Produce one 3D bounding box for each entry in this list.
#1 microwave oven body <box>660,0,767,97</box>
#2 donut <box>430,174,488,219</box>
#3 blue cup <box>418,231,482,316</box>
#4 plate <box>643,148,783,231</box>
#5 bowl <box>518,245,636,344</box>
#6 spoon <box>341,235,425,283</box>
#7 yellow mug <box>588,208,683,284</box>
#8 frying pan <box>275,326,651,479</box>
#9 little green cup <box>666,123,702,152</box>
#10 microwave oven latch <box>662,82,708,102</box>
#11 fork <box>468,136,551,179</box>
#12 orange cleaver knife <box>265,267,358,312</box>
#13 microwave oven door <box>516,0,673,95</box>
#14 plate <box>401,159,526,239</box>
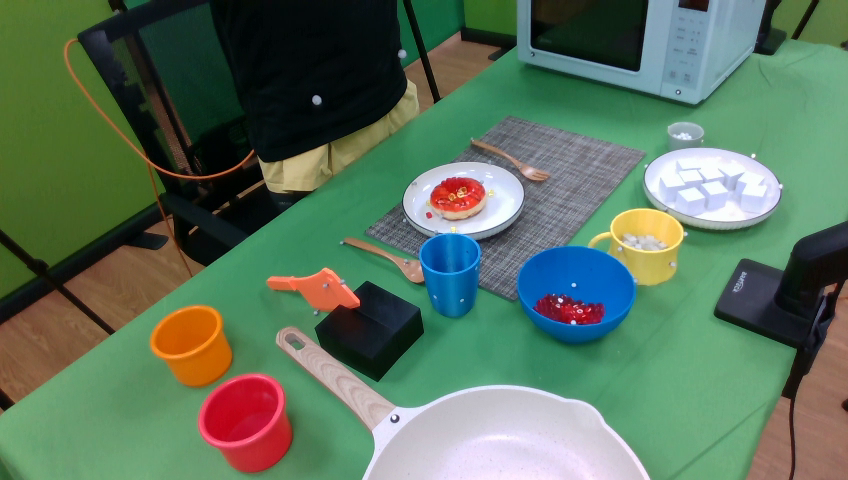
[{"bbox_3d":[0.474,-0.516,1.314,0.438,0.261,0.327,26,51,34],"label":"microwave oven body"},{"bbox_3d":[0.058,-0.075,1.015,0.099,0.048,0.098,-6,38,5],"label":"donut"},{"bbox_3d":[0.040,0.052,0.843,0.092,0.100,0.092,-4,43,4],"label":"blue cup"},{"bbox_3d":[0.465,-0.080,0.985,0.207,0.039,0.206,-4,41,4],"label":"plate"},{"bbox_3d":[0.200,0.084,0.803,0.151,0.077,0.150,-4,40,4],"label":"bowl"},{"bbox_3d":[-0.061,0.023,0.953,0.192,0.022,0.041,24,70,30],"label":"spoon"},{"bbox_3d":[0.305,0.009,0.884,0.131,0.064,0.099,-4,41,5],"label":"yellow mug"},{"bbox_3d":[0.004,0.229,0.641,0.484,0.103,0.308,34,54,28],"label":"frying pan"},{"bbox_3d":[0.472,-0.183,1.103,0.061,0.039,0.061,-5,41,5],"label":"little green cup"},{"bbox_3d":[0.518,-0.298,1.203,0.078,0.029,0.030,28,53,35],"label":"microwave oven latch"},{"bbox_3d":[0.154,-0.156,1.126,0.028,0.019,0.205,-39,51,-18],"label":"fork"},{"bbox_3d":[-0.164,0.073,0.864,0.210,0.077,0.012,-6,31,50],"label":"orange cleaver knife"},{"bbox_3d":[0.344,-0.458,1.257,0.353,0.245,0.039,26,51,33],"label":"microwave oven door"},{"bbox_3d":[0.067,-0.065,1.019,0.209,0.038,0.208,-4,40,4],"label":"plate"}]
